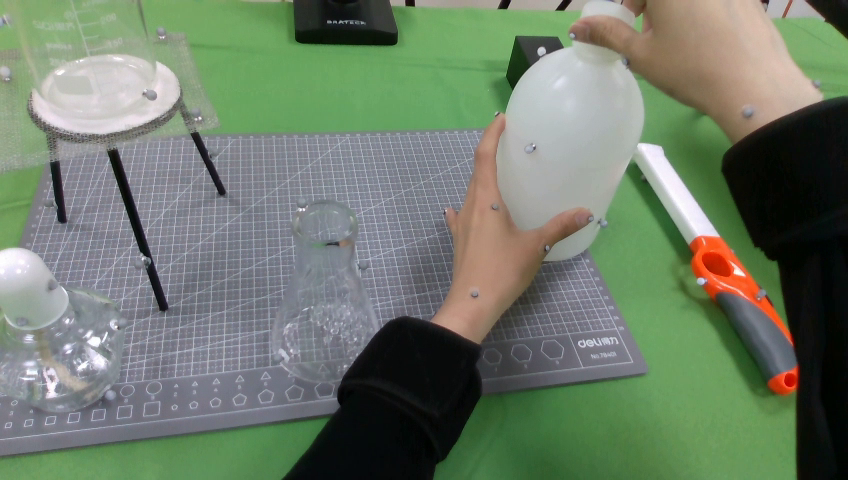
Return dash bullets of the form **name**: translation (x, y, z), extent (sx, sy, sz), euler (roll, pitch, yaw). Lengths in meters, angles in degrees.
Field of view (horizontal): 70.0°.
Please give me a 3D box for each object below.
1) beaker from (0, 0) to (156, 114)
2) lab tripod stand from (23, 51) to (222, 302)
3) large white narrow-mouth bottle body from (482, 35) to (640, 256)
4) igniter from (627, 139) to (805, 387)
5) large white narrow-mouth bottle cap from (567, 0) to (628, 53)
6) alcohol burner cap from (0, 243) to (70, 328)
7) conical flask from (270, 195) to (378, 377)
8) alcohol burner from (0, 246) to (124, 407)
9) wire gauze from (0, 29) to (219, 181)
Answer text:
- **beaker**: translation (-0.201, -0.130, 0.345), extent (0.084, 0.101, 0.073), euler (-9, 51, -17)
- **lab tripod stand**: translation (-0.207, -0.049, 0.427), extent (0.149, 0.132, 0.147), euler (6, 47, -6)
- **large white narrow-mouth bottle body**: translation (0.108, -0.083, 0.468), extent (0.102, 0.196, 0.101), euler (4, 47, -4)
- **igniter**: translation (0.244, 0.005, 0.528), extent (0.057, 0.025, 0.273), euler (4, 46, -20)
- **large white narrow-mouth bottle cap**: translation (0.116, -0.144, 0.404), extent (0.038, 0.024, 0.037), euler (4, 47, -4)
- **alcohol burner cap**: translation (-0.215, 0.022, 0.324), extent (0.034, 0.048, 0.033), euler (5, 53, -6)
- **conical flask**: translation (-0.064, 0.027, 0.388), extent (0.075, 0.123, 0.074), euler (5, 47, -5)
- **alcohol burner**: translation (-0.220, 0.046, 0.351), extent (0.078, 0.120, 0.077), euler (6, 45, -6)
- **wire gauze**: translation (-0.203, -0.095, 0.380), extent (0.122, 0.011, 0.124), euler (-16, 56, -20)
